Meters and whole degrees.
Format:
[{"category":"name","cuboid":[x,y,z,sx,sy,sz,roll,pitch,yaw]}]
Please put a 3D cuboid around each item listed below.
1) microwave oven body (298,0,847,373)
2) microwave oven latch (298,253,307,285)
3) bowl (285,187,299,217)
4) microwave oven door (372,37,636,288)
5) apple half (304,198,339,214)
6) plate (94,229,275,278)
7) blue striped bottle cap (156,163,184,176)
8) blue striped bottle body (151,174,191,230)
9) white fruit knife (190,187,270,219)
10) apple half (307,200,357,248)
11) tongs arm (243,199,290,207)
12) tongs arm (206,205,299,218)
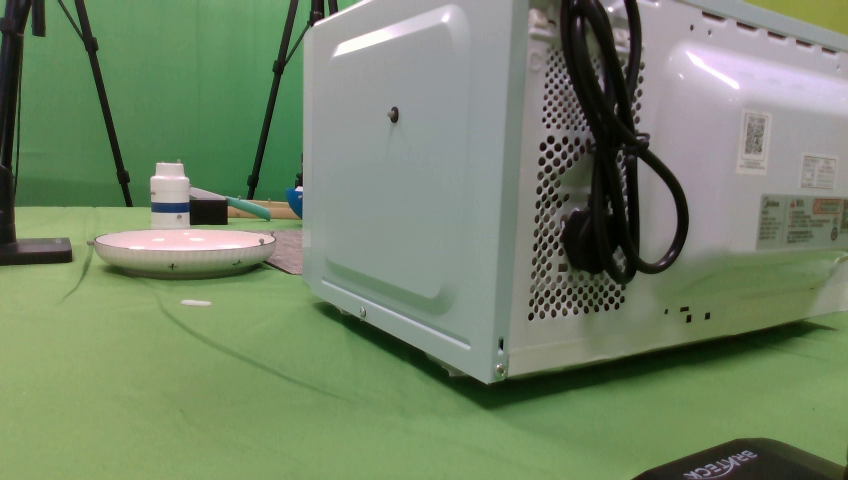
[{"category":"microwave oven body","cuboid":[0.152,-0.055,0.542,0.444,0.260,0.324,-2,7,-33]},{"category":"microwave oven latch","cuboid":[-0.081,0.027,0.582,0.079,0.029,0.030,-2,8,-33]},{"category":"bowl","cuboid":[-0.218,-0.069,1.274,0.151,0.077,0.151,3,8,0]},{"category":"microwave oven door","cuboid":[0.110,-0.080,0.686,0.358,0.243,0.039,-2,9,-33]},{"category":"apple half","cuboid":[-0.217,-0.073,1.274,0.081,0.033,0.081,2,9,0]},{"category":"plate","cuboid":[-0.291,0.016,0.749,0.208,0.039,0.207,2,7,0]},{"category":"blue striped bottle cap","cuboid":[-0.438,-0.122,1.045,0.044,0.020,0.044,4,6,0]},{"category":"blue striped bottle body","cuboid":[-0.439,-0.071,1.052,0.063,0.120,0.063,2,7,0]},{"category":"white fruit knife","cuboid":[-0.413,-0.081,1.270,0.208,0.027,0.016,17,13,-41]},{"category":"apple half","cuboid":[-0.136,-0.024,0.942,0.053,0.074,0.081,15,10,38]},{"category":"tongs arm","cuboid":[-0.309,-0.079,1.487,0.385,0.026,0.050,3,7,-1]},{"category":"tongs arm","cuboid":[-0.302,-0.065,1.406,0.389,0.028,0.028,1,4,-15]}]
